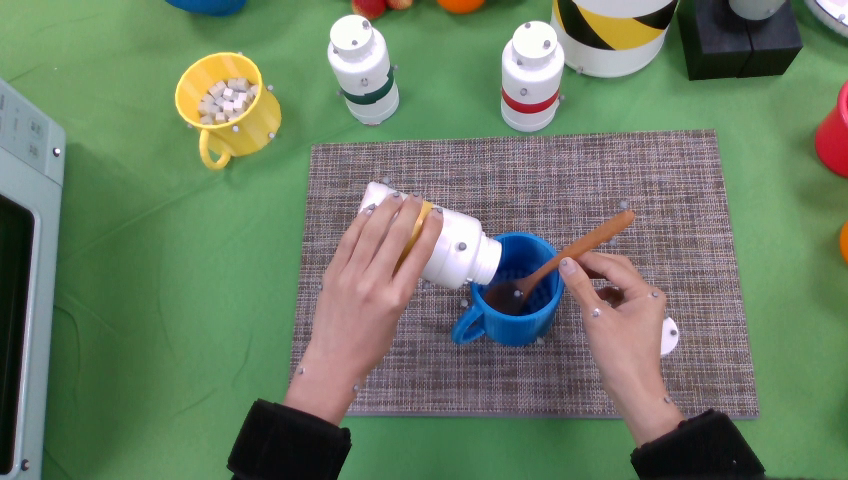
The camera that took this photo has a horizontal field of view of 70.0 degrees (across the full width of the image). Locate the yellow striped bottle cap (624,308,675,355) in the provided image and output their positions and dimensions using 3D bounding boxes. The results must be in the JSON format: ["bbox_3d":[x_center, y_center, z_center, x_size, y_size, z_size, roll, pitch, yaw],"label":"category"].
[{"bbox_3d":[0.218,0.088,0.585,0.044,0.019,0.044,-2,70,6],"label":"yellow striped bottle cap"}]

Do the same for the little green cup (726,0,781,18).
[{"bbox_3d":[0.350,-0.267,0.636,0.061,0.039,0.061,-1,68,3],"label":"little green cup"}]

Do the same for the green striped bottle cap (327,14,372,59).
[{"bbox_3d":[-0.076,-0.207,0.616,0.044,0.020,0.044,-2,68,6],"label":"green striped bottle cap"}]

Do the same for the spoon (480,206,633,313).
[{"bbox_3d":[0.106,0.024,0.525,0.022,0.194,0.041,0,62,-31],"label":"spoon"}]

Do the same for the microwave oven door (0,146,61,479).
[{"bbox_3d":[-0.422,0.060,0.528,0.039,0.245,0.353,-10,69,3],"label":"microwave oven door"}]

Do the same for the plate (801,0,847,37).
[{"bbox_3d":[0.520,-0.301,0.684,0.209,0.038,0.207,-2,70,6],"label":"plate"}]

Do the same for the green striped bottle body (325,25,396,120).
[{"bbox_3d":[-0.070,-0.189,0.664,0.063,0.120,0.063,-2,70,5],"label":"green striped bottle body"}]

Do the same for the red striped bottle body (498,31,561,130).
[{"bbox_3d":[0.111,-0.173,0.639,0.063,0.120,0.062,-3,68,8],"label":"red striped bottle body"}]

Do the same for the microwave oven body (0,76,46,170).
[{"bbox_3d":[-0.571,0.048,0.554,0.326,0.262,0.438,-10,70,2],"label":"microwave oven body"}]

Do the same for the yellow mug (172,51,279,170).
[{"bbox_3d":[-0.230,-0.142,0.694,0.100,0.064,0.130,8,72,9],"label":"yellow mug"}]

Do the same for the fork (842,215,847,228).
[{"bbox_3d":[0.464,0.010,0.518,0.028,0.019,0.205,-39,27,-7],"label":"fork"}]

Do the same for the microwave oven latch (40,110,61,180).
[{"bbox_3d":[-0.440,-0.108,0.699,0.030,0.030,0.078,-8,70,3],"label":"microwave oven latch"}]

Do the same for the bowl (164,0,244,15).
[{"bbox_3d":[-0.272,-0.340,0.763,0.151,0.077,0.150,-2,70,5],"label":"bowl"}]

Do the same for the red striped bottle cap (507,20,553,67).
[{"bbox_3d":[0.104,-0.192,0.590,0.044,0.018,0.044,-1,69,2],"label":"red striped bottle cap"}]

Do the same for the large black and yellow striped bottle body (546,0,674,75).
[{"bbox_3d":[0.199,-0.277,0.632,0.130,0.185,0.130,-2,70,6],"label":"large black and yellow striped bottle body"}]

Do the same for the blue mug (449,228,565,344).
[{"bbox_3d":[0.071,0.056,0.564,0.116,0.106,0.082,-37,70,-8],"label":"blue mug"}]

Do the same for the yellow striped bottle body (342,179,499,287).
[{"bbox_3d":[0.000,-0.001,0.495,0.120,0.063,0.062,19,72,-9],"label":"yellow striped bottle body"}]
